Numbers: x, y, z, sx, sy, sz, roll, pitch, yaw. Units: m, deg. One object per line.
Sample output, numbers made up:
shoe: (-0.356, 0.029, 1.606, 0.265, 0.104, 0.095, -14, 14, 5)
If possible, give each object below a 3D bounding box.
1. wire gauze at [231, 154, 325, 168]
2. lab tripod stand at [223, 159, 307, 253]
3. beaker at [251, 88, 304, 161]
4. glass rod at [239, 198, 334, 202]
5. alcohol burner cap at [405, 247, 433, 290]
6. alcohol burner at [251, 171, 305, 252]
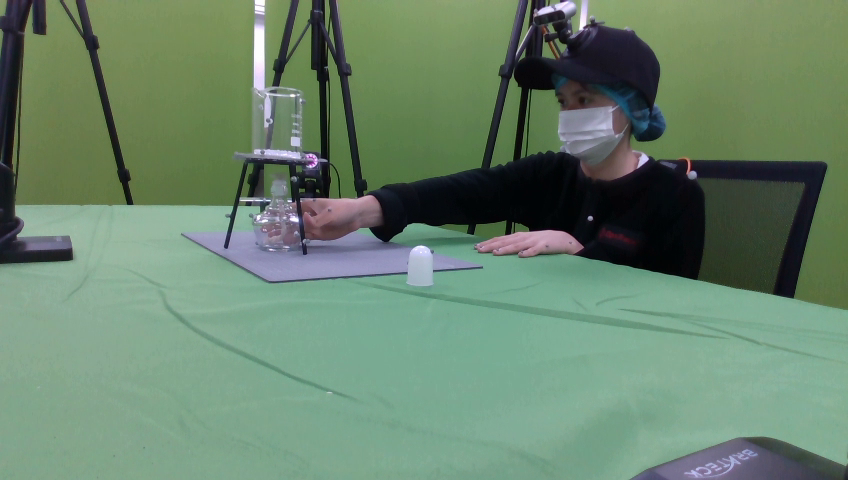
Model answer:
wire gauze: (-0.215, -0.117, 0.882, 0.125, 0.011, 0.121, 3, 7, -19)
lab tripod stand: (-0.220, -0.053, 0.896, 0.148, 0.131, 0.148, 1, 6, 0)
beaker: (-0.214, -0.165, 0.874, 0.074, 0.100, 0.084, 4, 6, 15)
glass rod: (-0.277, -0.081, 1.232, 0.201, 0.008, 0.008, -1, 8, -30)
alcohol burner cap: (-0.005, 0.031, 0.698, 0.034, 0.048, 0.034, 3, 8, 0)
alcohol burner: (-0.214, -0.042, 0.888, 0.078, 0.119, 0.078, 1, 9, 0)
